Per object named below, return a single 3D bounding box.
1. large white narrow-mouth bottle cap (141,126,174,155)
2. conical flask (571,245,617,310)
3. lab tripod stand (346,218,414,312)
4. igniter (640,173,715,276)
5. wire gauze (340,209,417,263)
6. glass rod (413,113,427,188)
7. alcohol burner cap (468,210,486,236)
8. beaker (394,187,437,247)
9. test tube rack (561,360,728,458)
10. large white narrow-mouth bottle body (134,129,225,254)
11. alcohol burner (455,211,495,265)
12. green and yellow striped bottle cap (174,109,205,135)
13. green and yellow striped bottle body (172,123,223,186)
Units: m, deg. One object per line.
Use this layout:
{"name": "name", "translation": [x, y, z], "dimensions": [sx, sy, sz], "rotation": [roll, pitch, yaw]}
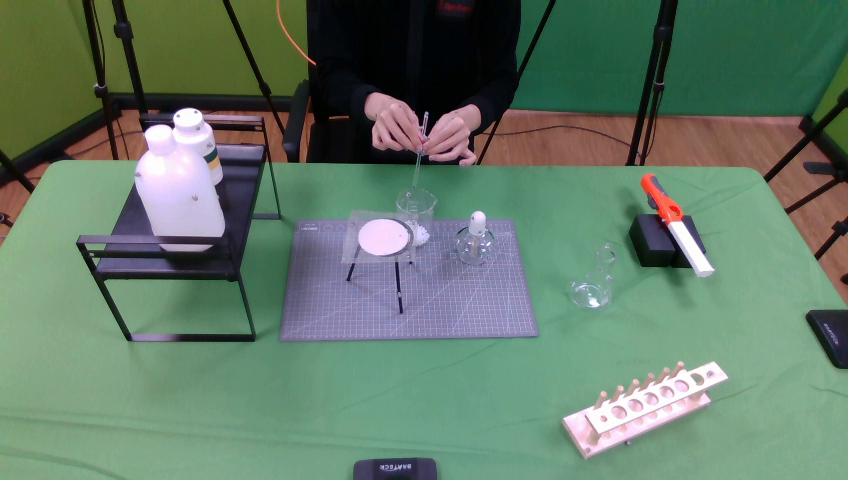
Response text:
{"name": "large white narrow-mouth bottle cap", "translation": [-0.356, -0.133, 0.811], "dimensions": [0.038, 0.024, 0.037], "rotation": [1, 47, -1]}
{"name": "conical flask", "translation": [0.313, 0.064, 1.089], "dimensions": [0.075, 0.122, 0.075], "rotation": [2, 46, -2]}
{"name": "lab tripod stand", "translation": [-0.070, 0.037, 1.075], "dimensions": [0.148, 0.132, 0.147], "rotation": [1, 47, -1]}
{"name": "igniter", "translation": [0.495, -0.039, 1.204], "dimensions": [0.057, 0.025, 0.274], "rotation": [-2, 47, -12]}
{"name": "wire gauze", "translation": [-0.074, -0.007, 1.023], "dimensions": [0.121, 0.011, 0.124], "rotation": [3, 46, 0]}
{"name": "glass rod", "translation": [-0.009, -0.152, 1.066], "dimensions": [0.008, 0.200, 0.008], "rotation": [3, 58, -5]}
{"name": "alcohol burner cap", "translation": [0.099, -0.034, 1.119], "dimensions": [0.034, 0.048, 0.033], "rotation": [0, 53, 0]}
{"name": "beaker", "translation": [-0.018, -0.042, 1.179], "dimensions": [0.084, 0.101, 0.073], "rotation": [-9, 48, -13]}
{"name": "test tube rack", "translation": [0.341, 0.247, 0.940], "dimensions": [0.243, 0.085, 0.066], "rotation": [-15, 49, -18]}
{"name": "large white narrow-mouth bottle body", "translation": [-0.358, -0.075, 0.875], "dimensions": [0.102, 0.195, 0.101], "rotation": [1, 47, -1]}
{"name": "alcohol burner", "translation": [0.097, -0.010, 1.147], "dimensions": [0.078, 0.120, 0.077], "rotation": [1, 47, -1]}
{"name": "green and yellow striped bottle cap", "translation": [-0.369, -0.186, 0.954], "dimensions": [0.045, 0.020, 0.045], "rotation": [3, 49, -3]}
{"name": "green and yellow striped bottle body", "translation": [-0.373, -0.148, 0.994], "dimensions": [0.063, 0.120, 0.063], "rotation": [2, 46, -2]}
